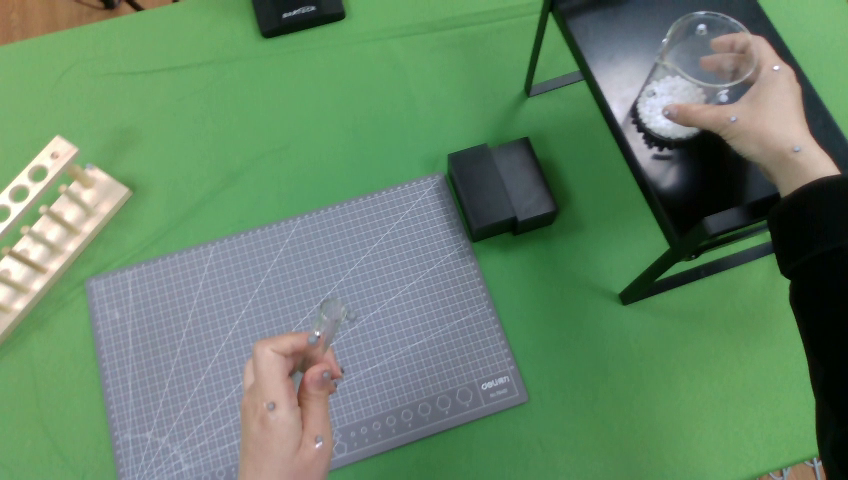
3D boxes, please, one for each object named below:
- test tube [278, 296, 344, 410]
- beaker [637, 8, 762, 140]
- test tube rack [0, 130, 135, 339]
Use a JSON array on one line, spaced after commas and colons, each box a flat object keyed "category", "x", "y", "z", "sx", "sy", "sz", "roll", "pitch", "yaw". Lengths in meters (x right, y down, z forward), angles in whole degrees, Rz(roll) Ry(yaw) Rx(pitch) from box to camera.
[{"category": "test tube", "x": -0.078, "y": 0.080, "z": 0.400, "sx": 0.017, "sy": 0.151, "sz": 0.017, "roll": 13, "pitch": 51, "yaw": -16}, {"category": "beaker", "x": 0.236, "y": -0.141, "z": 0.540, "sx": 0.084, "sy": 0.101, "sz": 0.073, "roll": -7, "pitch": 70, "yaw": -1}, {"category": "test tube rack", "x": -0.457, "y": -0.001, "z": 0.694, "sx": 0.066, "sy": 0.085, "sz": 0.242, "roll": 33, "pitch": 75, "yaw": 11}]
